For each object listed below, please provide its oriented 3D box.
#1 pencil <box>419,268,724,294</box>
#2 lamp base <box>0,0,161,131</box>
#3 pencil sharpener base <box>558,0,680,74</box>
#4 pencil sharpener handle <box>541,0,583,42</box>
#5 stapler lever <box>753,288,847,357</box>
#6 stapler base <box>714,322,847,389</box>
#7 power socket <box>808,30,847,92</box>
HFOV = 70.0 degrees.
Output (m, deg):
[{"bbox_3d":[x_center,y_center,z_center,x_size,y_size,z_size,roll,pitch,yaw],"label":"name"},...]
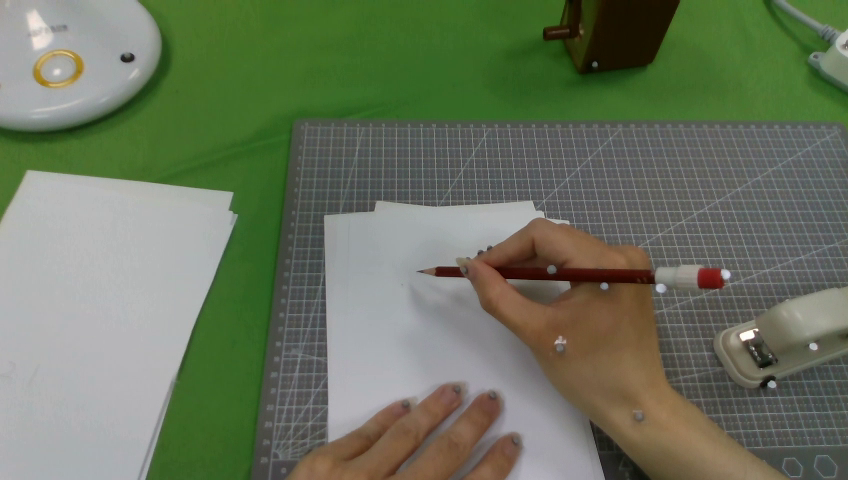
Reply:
[{"bbox_3d":[0.064,0.021,0.333,0.193,0.012,0.012,-2,47,46],"label":"pencil"},{"bbox_3d":[-0.302,-0.199,0.429,0.161,0.182,0.177,-28,62,-18],"label":"lamp base"},{"bbox_3d":[0.156,-0.195,0.491,0.077,0.108,0.061,-10,60,-8],"label":"pencil sharpener base"},{"bbox_3d":[0.108,-0.188,0.469,0.031,0.068,0.035,-10,38,-8],"label":"pencil sharpener handle"},{"bbox_3d":[0.256,0.044,0.370,0.118,0.040,0.026,-15,62,-12],"label":"stapler lever"},{"bbox_3d":[0.254,0.058,0.391,0.131,0.024,0.041,-15,62,-12],"label":"stapler base"},{"bbox_3d":[0.437,-0.110,0.497,0.072,0.033,0.225,-38,67,-23],"label":"power socket"}]
